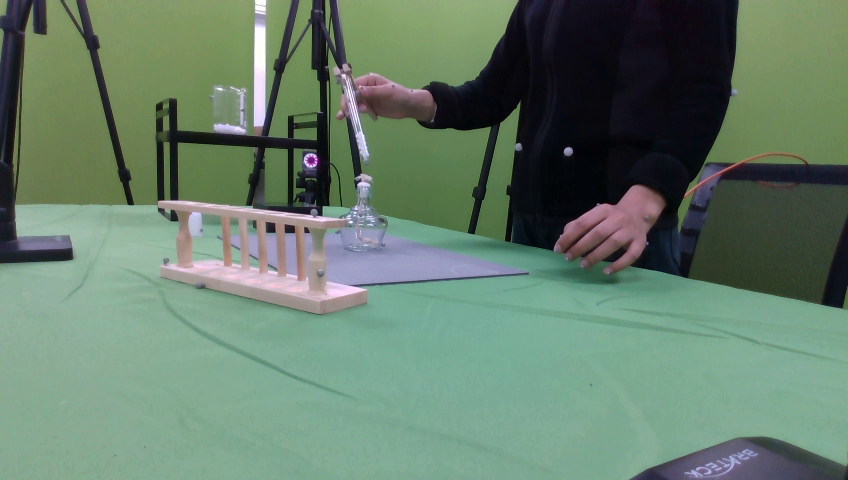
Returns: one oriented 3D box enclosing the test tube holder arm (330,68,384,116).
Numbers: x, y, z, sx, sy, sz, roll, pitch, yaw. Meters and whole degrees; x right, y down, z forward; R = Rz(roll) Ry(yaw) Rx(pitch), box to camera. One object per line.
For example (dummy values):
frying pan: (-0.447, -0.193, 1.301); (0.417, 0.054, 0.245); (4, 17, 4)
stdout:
test tube holder arm: (-0.109, -0.244, 1.011); (0.013, 0.015, 0.179); (-30, -18, 12)

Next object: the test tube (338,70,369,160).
test tube: (-0.108, -0.193, 0.933); (0.017, 0.150, 0.017); (-15, -11, -3)

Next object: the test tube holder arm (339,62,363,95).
test tube holder arm: (-0.116, -0.256, 0.968); (0.010, 0.015, 0.088); (-28, -18, 2)

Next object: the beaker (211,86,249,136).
beaker: (-0.413, -0.274, 1.297); (0.074, 0.100, 0.083); (-5, 11, -44)

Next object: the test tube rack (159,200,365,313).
test tube rack: (-0.173, 0.009, 0.624); (0.241, 0.085, 0.067); (7, 9, 34)

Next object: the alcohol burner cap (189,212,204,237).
alcohol burner cap: (-0.389, -0.029, 1.025); (0.034, 0.048, 0.034); (2, 8, 0)

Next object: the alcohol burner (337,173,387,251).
alcohol burner: (-0.095, -0.043, 0.926); (0.078, 0.119, 0.078); (3, 6, 0)
